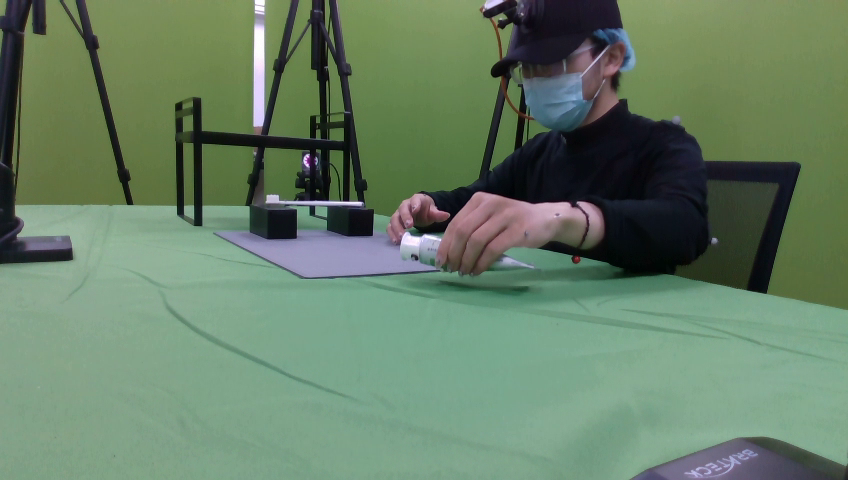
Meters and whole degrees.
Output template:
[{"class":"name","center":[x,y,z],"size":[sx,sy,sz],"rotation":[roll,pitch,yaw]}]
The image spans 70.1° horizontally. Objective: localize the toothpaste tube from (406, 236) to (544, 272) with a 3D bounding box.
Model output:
[{"class":"toothpaste tube","center":[0.053,0.020,0.694],"size":[0.164,0.034,0.055],"rotation":[8,-1,18]}]

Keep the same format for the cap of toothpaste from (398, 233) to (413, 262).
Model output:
[{"class":"cap of toothpaste","center":[-0.020,0.010,0.721],"size":[0.011,0.037,0.037],"rotation":[8,9,19]}]

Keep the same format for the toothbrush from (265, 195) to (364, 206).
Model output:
[{"class":"toothbrush","center":[-0.194,-0.069,1.090],"size":[0.183,0.016,0.014],"rotation":[0,-8,-27]}]
